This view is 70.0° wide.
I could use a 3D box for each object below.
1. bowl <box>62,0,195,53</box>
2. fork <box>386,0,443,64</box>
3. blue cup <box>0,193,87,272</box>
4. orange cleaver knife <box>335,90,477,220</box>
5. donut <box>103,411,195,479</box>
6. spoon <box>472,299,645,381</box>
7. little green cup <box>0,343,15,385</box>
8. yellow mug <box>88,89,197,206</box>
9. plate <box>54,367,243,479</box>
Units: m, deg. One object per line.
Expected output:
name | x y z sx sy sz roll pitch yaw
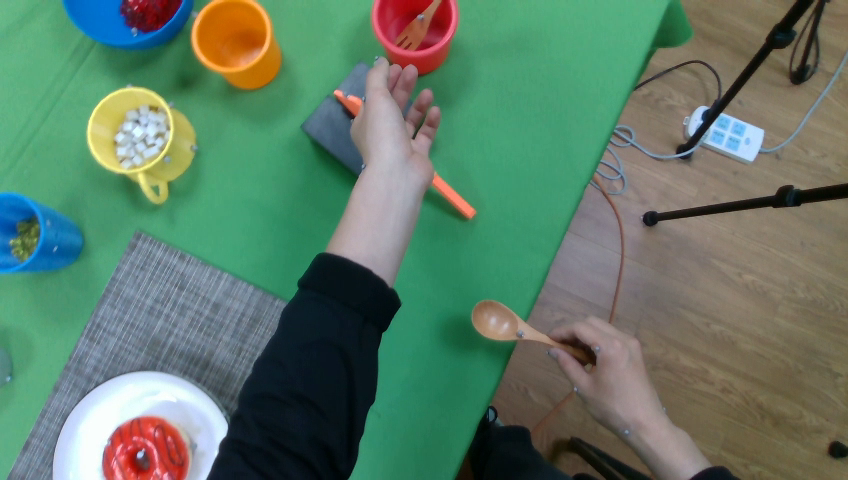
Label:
bowl | -0.339 -0.287 0.726 0.151 0.077 0.151 0 85 1
fork | 0.024 -0.276 0.683 0.207 0.018 0.028 -40 80 39
blue cup | -0.439 -0.002 0.687 0.092 0.100 0.092 0 84 0
orange cleaver knife | -0.019 -0.096 0.697 0.213 0.076 0.012 42 87 -24
donut | -0.306 0.240 0.676 0.099 0.048 0.099 0 87 1
spoon | 0.142 0.111 0.643 0.193 0.022 0.041 21 64 7
little green cup | -0.514 0.146 0.705 0.061 0.039 0.061 0 84 2
yellow mug | -0.324 -0.104 0.712 0.100 0.064 0.130 -16 85 0
plate | -0.306 0.247 0.686 0.209 0.038 0.208 0 84 1
